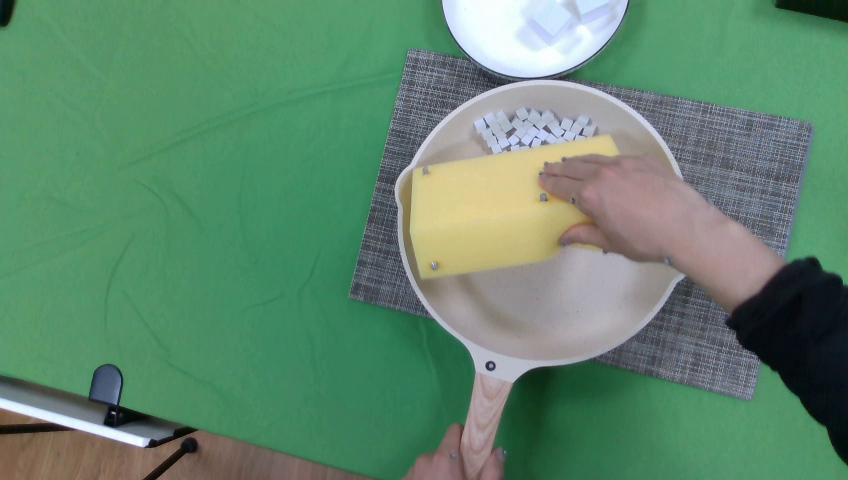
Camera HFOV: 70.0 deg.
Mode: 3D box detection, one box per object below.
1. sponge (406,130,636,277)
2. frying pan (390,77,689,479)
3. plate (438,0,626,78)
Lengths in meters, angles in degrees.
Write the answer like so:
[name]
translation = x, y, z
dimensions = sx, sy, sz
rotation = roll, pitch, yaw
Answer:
[sponge]
translation = 0.090, -0.038, 0.596
dimensions = 0.207, 0.117, 0.061
rotation = -10, 126, 6
[frying pan]
translation = 0.085, 0.078, 0.625
dimensions = 0.306, 0.103, 0.486
rotation = 16, 81, 10
[plate]
translation = 0.120, -0.281, 0.679
dimensions = 0.207, 0.039, 0.207
rotation = -1, 87, 8
